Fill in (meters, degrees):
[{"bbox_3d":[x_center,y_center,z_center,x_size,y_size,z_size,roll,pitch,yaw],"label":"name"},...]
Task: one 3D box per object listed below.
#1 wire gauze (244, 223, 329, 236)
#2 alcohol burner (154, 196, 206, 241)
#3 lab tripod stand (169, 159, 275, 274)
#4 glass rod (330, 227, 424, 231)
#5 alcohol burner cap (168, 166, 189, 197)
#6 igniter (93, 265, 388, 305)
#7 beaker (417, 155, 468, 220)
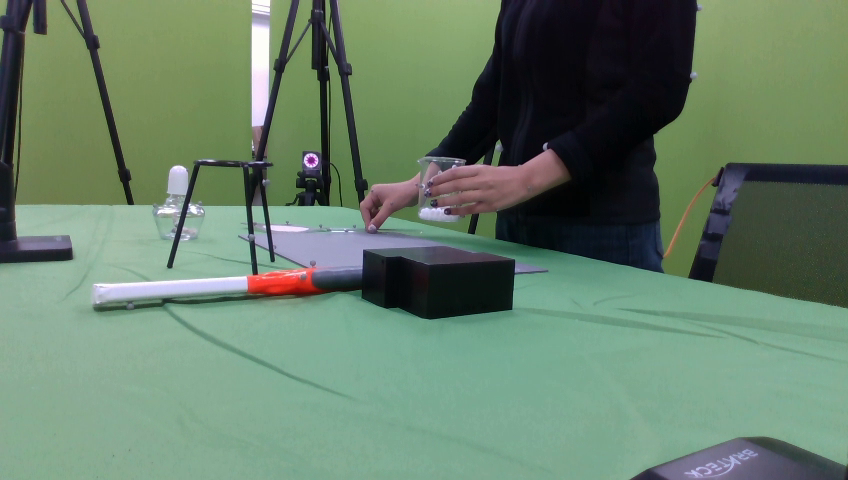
[{"bbox_3d":[-0.266,-0.024,1.156,0.124,0.011,0.122,12,12,40],"label":"wire gauze"},{"bbox_3d":[-0.393,-0.059,0.974,0.078,0.119,0.078,1,8,0],"label":"alcohol burner"},{"bbox_3d":[-0.230,-0.030,0.724,0.148,0.131,0.148,1,9,0],"label":"lab tripod stand"},{"bbox_3d":[-0.085,-0.021,1.149,0.201,0.008,0.008,-1,7,-32],"label":"glass rod"},{"bbox_3d":[-0.392,-0.095,0.970,0.034,0.048,0.034,7,8,-1],"label":"alcohol burner cap"},{"bbox_3d":[-0.164,0.042,0.589,0.278,0.025,0.057,-2,-6,-31],"label":"igniter"},{"bbox_3d":[0.026,-0.083,0.961,0.084,0.100,0.073,1,6,-23],"label":"beaker"}]
